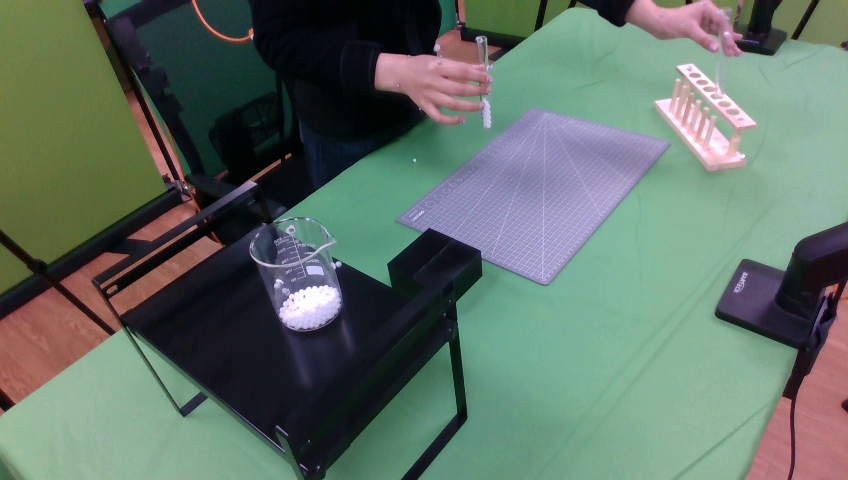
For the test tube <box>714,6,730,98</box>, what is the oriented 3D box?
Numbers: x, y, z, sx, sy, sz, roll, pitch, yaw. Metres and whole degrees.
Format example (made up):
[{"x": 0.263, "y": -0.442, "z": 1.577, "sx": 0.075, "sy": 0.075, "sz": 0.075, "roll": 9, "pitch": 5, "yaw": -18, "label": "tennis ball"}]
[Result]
[{"x": 0.480, "y": -0.300, "z": 0.974, "sx": 0.017, "sy": 0.151, "sz": 0.017, "roll": -10, "pitch": 36, "yaw": 7, "label": "test tube"}]

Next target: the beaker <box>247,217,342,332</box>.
[{"x": -0.124, "y": 0.037, "z": 0.614, "sx": 0.084, "sy": 0.101, "sz": 0.073, "roll": -7, "pitch": 41, "yaw": 0, "label": "beaker"}]

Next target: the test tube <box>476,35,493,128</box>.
[{"x": 0.092, "y": -0.235, "z": 0.909, "sx": 0.017, "sy": 0.151, "sz": 0.017, "roll": -6, "pitch": 42, "yaw": 6, "label": "test tube"}]

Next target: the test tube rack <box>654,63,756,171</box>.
[{"x": 0.511, "y": -0.233, "z": 1.120, "sx": 0.067, "sy": 0.085, "sz": 0.241, "roll": -8, "pitch": 41, "yaw": -1, "label": "test tube rack"}]
